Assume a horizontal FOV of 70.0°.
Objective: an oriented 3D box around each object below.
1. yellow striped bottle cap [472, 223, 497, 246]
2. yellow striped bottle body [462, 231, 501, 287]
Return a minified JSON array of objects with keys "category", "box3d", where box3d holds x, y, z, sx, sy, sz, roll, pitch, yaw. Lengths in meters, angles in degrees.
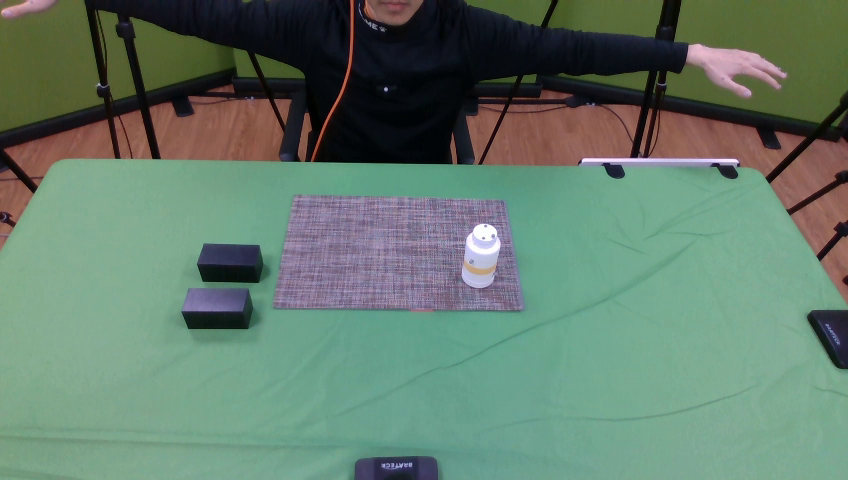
[{"category":"yellow striped bottle cap","box3d":[0.107,-0.010,1.068,0.044,0.019,0.044,3,47,-4]},{"category":"yellow striped bottle body","box3d":[0.105,0.025,1.106,0.063,0.121,0.062,2,46,-2]}]
